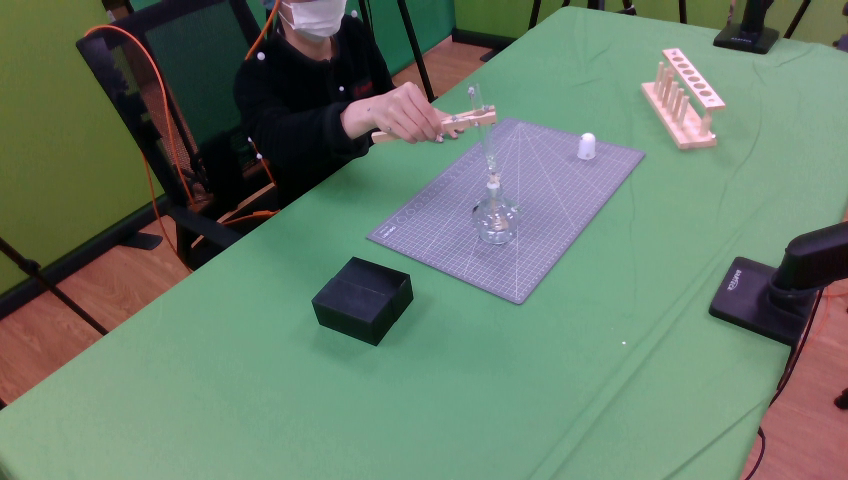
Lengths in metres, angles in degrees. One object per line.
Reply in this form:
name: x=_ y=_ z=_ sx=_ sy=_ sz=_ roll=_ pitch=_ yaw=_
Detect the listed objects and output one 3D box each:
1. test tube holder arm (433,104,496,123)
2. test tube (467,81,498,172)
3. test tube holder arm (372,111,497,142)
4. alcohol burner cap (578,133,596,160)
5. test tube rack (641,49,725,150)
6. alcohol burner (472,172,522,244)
test tube holder arm: x=0.056 y=-0.169 z=0.836 sx=0.088 sy=0.015 sz=0.010 roll=-14 pitch=43 yaw=7
test tube: x=0.084 y=-0.155 z=0.844 sx=0.017 sy=0.151 sz=0.017 roll=-11 pitch=44 yaw=11
test tube holder arm: x=0.012 y=-0.157 z=0.840 sx=0.178 sy=0.015 sz=0.013 roll=-8 pitch=43 yaw=13
alcohol burner cap: x=0.301 y=-0.174 z=1.111 sx=0.034 sy=0.048 sz=0.033 roll=-5 pitch=41 yaw=4
test tube rack: x=0.495 y=-0.279 z=1.175 sx=0.067 sy=0.085 sz=0.241 roll=-5 pitch=41 yaw=3
alcohol burner: x=0.112 y=-0.053 z=0.942 sx=0.078 sy=0.119 sz=0.077 roll=-6 pitch=40 yaw=5
